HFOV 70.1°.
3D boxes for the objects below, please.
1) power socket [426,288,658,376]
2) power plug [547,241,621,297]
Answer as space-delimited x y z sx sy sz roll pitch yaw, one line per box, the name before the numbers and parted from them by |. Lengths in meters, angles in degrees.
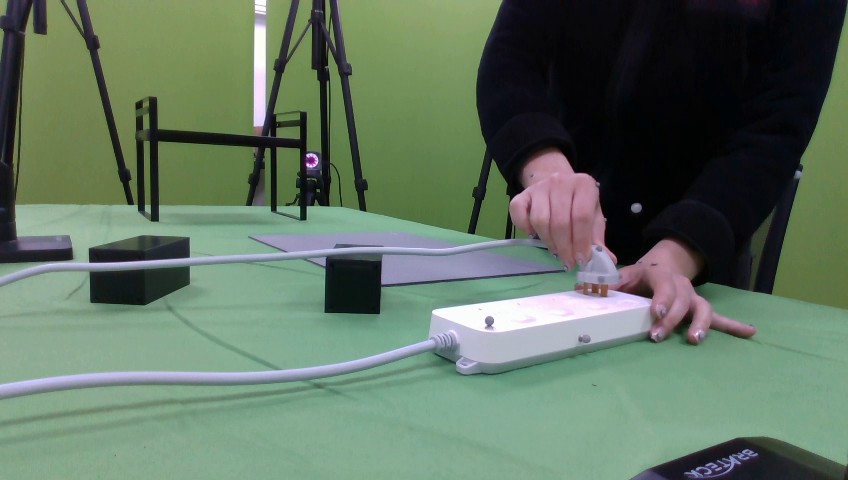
power socket | 0.101 0.066 0.481 0.228 0.032 0.072 -4 9 -37
power plug | 0.145 0.028 0.546 0.035 0.052 0.072 -2 9 -25
